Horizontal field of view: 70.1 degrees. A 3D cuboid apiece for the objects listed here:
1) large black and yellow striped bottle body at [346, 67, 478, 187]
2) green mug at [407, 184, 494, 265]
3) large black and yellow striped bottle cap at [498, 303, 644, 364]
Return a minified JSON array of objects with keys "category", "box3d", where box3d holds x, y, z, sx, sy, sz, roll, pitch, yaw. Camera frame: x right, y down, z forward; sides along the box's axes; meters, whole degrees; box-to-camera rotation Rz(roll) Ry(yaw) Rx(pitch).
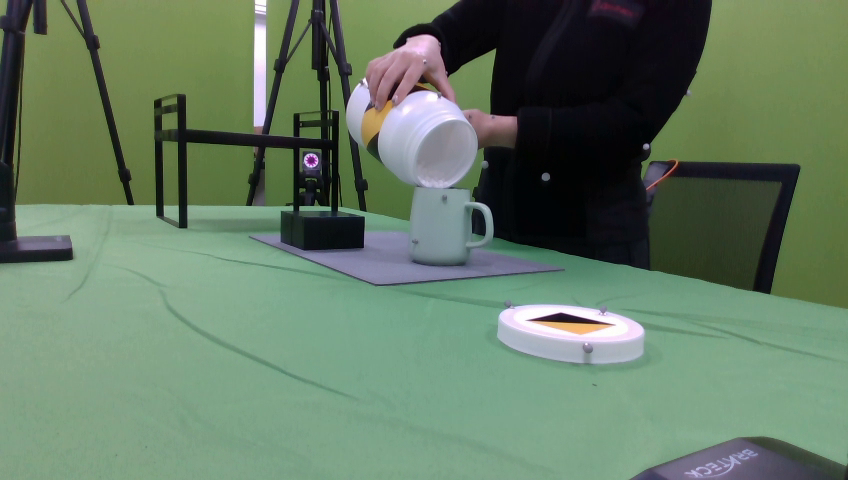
[{"category":"large black and yellow striped bottle body","box3d":[-0.018,-0.161,0.879,0.131,0.130,0.183,-4,33,-37]},{"category":"green mug","box3d":[0.038,-0.021,0.827,0.125,0.105,0.093,7,8,29]},{"category":"large black and yellow striped bottle cap","box3d":[0.117,0.072,0.486,0.115,0.019,0.115,1,8,0]}]
